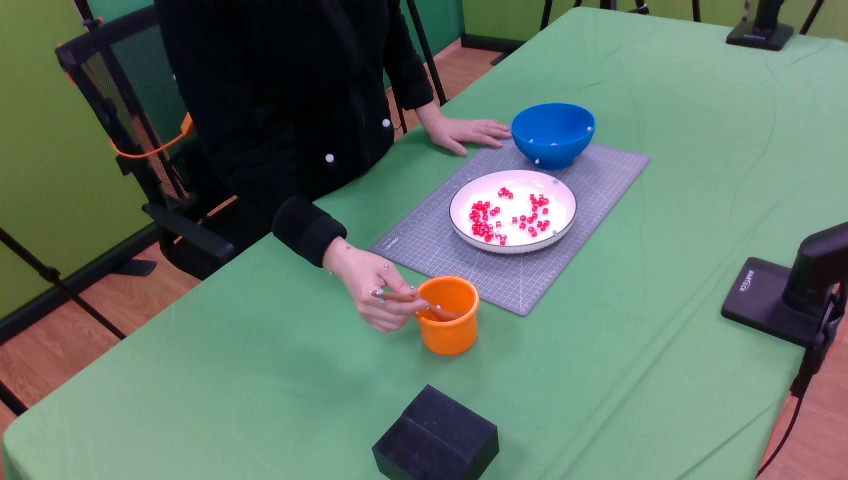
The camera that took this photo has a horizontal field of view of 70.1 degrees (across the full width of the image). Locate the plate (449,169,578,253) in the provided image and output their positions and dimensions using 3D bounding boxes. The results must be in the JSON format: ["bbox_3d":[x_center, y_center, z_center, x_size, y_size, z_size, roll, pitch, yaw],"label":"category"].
[{"bbox_3d":[0.146,-0.044,0.994,0.209,0.038,0.208,-5,40,5],"label":"plate"}]

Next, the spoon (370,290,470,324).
[{"bbox_3d":[-0.003,0.083,0.760,0.041,0.195,0.021,2,73,38],"label":"spoon"}]

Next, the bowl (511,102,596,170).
[{"bbox_3d":[0.237,-0.181,1.107,0.151,0.077,0.150,-6,40,5],"label":"bowl"}]
